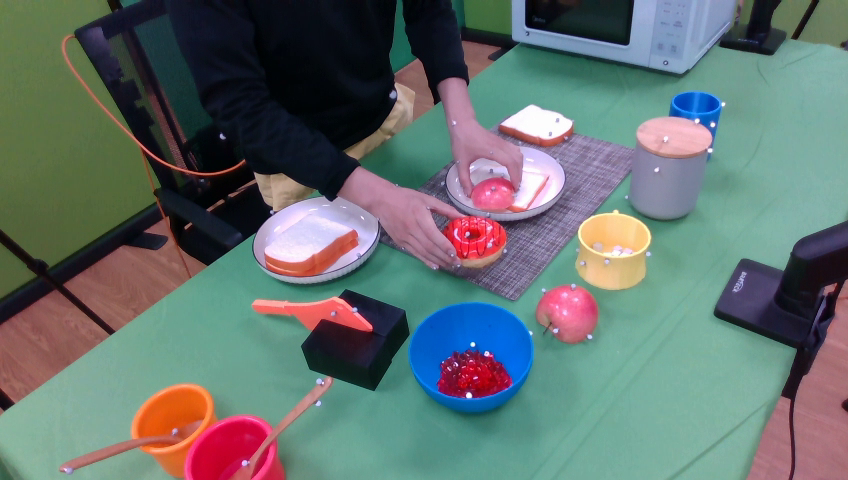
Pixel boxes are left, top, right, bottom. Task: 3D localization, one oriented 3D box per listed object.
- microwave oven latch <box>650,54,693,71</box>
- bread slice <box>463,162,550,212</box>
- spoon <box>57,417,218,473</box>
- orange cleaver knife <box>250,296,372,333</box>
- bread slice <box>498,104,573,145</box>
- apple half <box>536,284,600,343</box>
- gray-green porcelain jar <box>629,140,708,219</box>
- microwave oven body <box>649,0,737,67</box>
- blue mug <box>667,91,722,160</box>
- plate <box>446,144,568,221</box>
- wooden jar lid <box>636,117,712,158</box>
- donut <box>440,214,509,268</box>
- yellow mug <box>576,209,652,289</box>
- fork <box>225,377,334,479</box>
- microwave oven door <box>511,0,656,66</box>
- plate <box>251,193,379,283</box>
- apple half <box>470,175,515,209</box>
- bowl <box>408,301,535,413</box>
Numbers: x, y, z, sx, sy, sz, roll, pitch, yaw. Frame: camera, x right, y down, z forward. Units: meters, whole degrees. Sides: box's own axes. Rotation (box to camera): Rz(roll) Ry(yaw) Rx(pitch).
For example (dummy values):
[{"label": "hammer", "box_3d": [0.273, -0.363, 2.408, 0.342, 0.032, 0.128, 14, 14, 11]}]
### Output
[{"label": "microwave oven latch", "box_3d": [0.531, -0.386, 1.301, 0.078, 0.029, 0.030, 26, 51, 33]}, {"label": "bread slice", "box_3d": [0.136, -0.094, 1.044, 0.133, 0.018, 0.107, 14, 46, 24]}, {"label": "spoon", "box_3d": [-0.304, 0.221, 0.661, 0.041, 0.195, 0.021, 19, 92, 27]}, {"label": "orange cleaver knife", "box_3d": [-0.158, 0.103, 0.828, 0.210, 0.078, 0.012, -4, 43, 39]}, {"label": "bread slice", "box_3d": [0.231, -0.231, 1.205, 0.105, 0.019, 0.130, -36, 47, -29]}, {"label": "apple half", "box_3d": [0.196, 0.091, 0.815, 0.075, 0.053, 0.080, -22, 42, -20]}, {"label": "gray-green porcelain jar", "box_3d": [0.383, -0.105, 0.958, 0.106, 0.127, 0.105, -4, 41, 4]}, {"label": "microwave oven body", "box_3d": [0.475, -0.602, 1.411, 0.438, 0.261, 0.327, 23, 50, 32]}, {"label": "blue mug", "box_3d": [0.473, -0.207, 1.079, 0.082, 0.106, 0.116, 4, 41, 13]}, {"label": "plate", "box_3d": [0.142, -0.096, 1.045, 0.207, 0.039, 0.206, -4, 40, 4]}, {"label": "wooden jar lid", "box_3d": [0.377, -0.151, 0.917, 0.108, 0.021, 0.108, -2, 41, 3]}, {"label": "donut", "box_3d": [0.073, 0.000, 0.873, 0.099, 0.048, 0.098, -4, 42, 4]}, {"label": "yellow mug", "box_3d": [0.279, 0.004, 0.893, 0.099, 0.064, 0.130, 5, 42, 14]}, {"label": "fork", "box_3d": [-0.163, 0.216, 0.646, 0.207, 0.019, 0.028, -49, 42, 16]}, {"label": "microwave oven door", "box_3d": [0.351, -0.539, 1.348, 0.353, 0.245, 0.039, 24, 50, 31]}, {"label": "plate", "box_3d": [-0.173, -0.001, 0.984, 0.209, 0.038, 0.208, -4, 41, 4]}, {"label": "apple half", "box_3d": [0.114, -0.086, 1.004, 0.081, 0.033, 0.081, -4, 43, 4]}, {"label": "bowl", "box_3d": [0.060, 0.156, 0.739, 0.151, 0.077, 0.150, -4, 40, 4]}]
